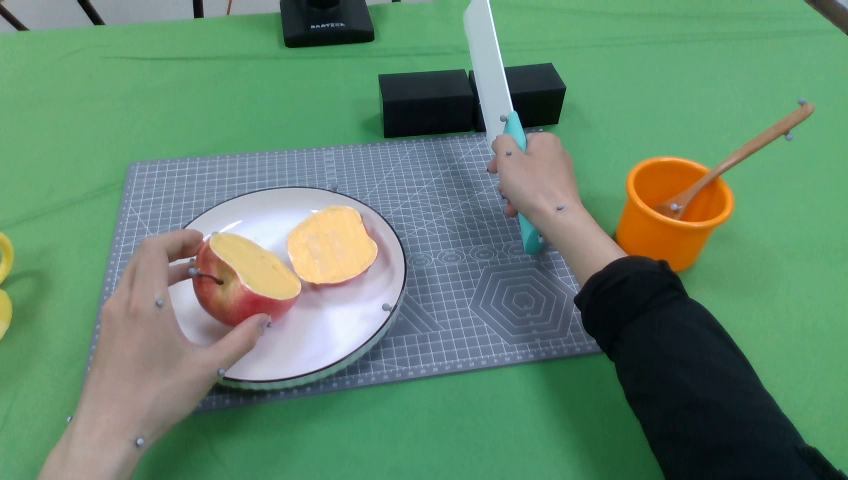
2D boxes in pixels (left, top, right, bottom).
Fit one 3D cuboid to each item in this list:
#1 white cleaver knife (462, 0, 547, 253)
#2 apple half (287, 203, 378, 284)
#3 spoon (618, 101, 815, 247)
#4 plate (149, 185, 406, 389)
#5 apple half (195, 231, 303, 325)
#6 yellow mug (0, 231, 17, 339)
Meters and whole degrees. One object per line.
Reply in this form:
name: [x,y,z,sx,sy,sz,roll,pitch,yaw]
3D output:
white cleaver knife: [0.075,-0.122,0.596,0.021,0.066,0.284,-3,71,-17]
apple half: [-0.080,0.010,0.532,0.081,0.033,0.080,-1,61,3]
spoon: [0.259,-0.057,0.543,0.022,0.194,0.041,29,30,-38]
plate: [-0.119,0.036,0.514,0.209,0.038,0.207,2,48,-1]
apple half: [-0.142,0.037,0.480,0.080,0.053,0.075,39,15,13]
yellow mug: [-0.385,0.040,0.483,0.099,0.064,0.130,20,49,15]
